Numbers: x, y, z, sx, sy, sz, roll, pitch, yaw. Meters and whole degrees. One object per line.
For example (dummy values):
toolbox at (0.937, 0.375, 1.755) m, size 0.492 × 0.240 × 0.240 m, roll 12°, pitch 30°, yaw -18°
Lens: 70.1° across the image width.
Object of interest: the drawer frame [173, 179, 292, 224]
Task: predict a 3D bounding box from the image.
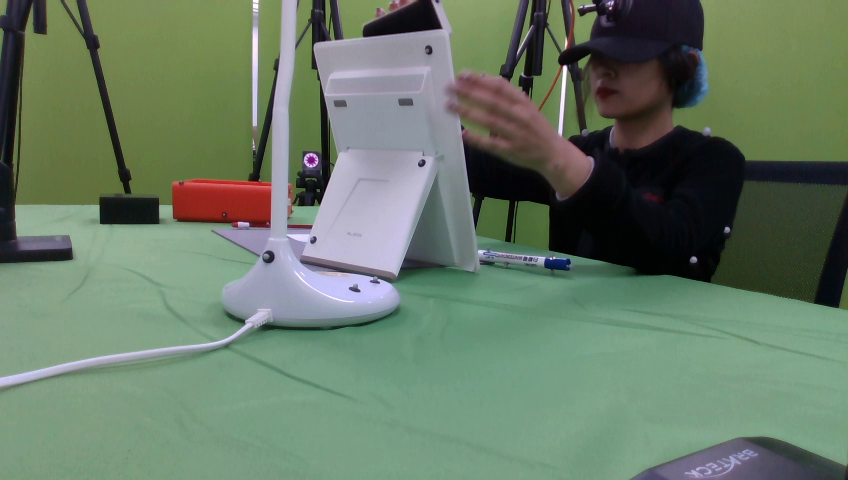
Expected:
drawer frame at (-0.400, -0.086, 1.300) m, size 0.214 × 0.082 × 0.201 m, roll 1°, pitch 8°, yaw -8°

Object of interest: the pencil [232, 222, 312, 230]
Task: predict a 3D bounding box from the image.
pencil at (-0.261, -0.025, 1.140) m, size 0.195 × 0.012 × 0.012 m, roll 2°, pitch 7°, yaw -26°

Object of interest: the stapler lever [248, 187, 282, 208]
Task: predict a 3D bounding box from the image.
stapler lever at (-0.341, -0.092, 1.308) m, size 0.027 × 0.040 × 0.118 m, roll 20°, pitch 5°, yaw 12°

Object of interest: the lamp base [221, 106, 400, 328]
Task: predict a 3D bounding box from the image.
lamp base at (-0.101, -0.023, 0.531) m, size 0.160 × 0.180 × 0.179 m, roll 4°, pitch 10°, yaw 10°

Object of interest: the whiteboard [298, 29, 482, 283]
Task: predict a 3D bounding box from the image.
whiteboard at (-0.075, -0.082, 0.741) m, size 0.216 × 0.305 × 0.144 m, roll 9°, pitch 29°, yaw 37°

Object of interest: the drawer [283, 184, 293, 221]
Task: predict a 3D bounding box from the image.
drawer at (-0.396, -0.085, 1.301) m, size 0.212 × 0.073 × 0.194 m, roll 1°, pitch 8°, yaw -7°

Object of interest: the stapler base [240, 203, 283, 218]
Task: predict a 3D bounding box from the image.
stapler base at (-0.349, -0.066, 1.309) m, size 0.041 × 0.024 × 0.131 m, roll 20°, pitch 7°, yaw 11°

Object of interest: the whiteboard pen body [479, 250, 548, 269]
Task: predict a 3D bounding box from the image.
whiteboard pen body at (0.130, 0.028, 0.828) m, size 0.140 × 0.017 × 0.017 m, roll 6°, pitch 8°, yaw 38°

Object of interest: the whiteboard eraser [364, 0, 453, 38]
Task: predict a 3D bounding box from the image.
whiteboard eraser at (-0.022, -0.255, 0.741) m, size 0.112 × 0.055 × 0.042 m, roll -8°, pitch 21°, yaw 37°

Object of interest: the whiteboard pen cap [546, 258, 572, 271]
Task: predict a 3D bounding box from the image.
whiteboard pen cap at (0.176, 0.032, 0.790) m, size 0.033 × 0.018 × 0.018 m, roll 3°, pitch 6°, yaw 37°
